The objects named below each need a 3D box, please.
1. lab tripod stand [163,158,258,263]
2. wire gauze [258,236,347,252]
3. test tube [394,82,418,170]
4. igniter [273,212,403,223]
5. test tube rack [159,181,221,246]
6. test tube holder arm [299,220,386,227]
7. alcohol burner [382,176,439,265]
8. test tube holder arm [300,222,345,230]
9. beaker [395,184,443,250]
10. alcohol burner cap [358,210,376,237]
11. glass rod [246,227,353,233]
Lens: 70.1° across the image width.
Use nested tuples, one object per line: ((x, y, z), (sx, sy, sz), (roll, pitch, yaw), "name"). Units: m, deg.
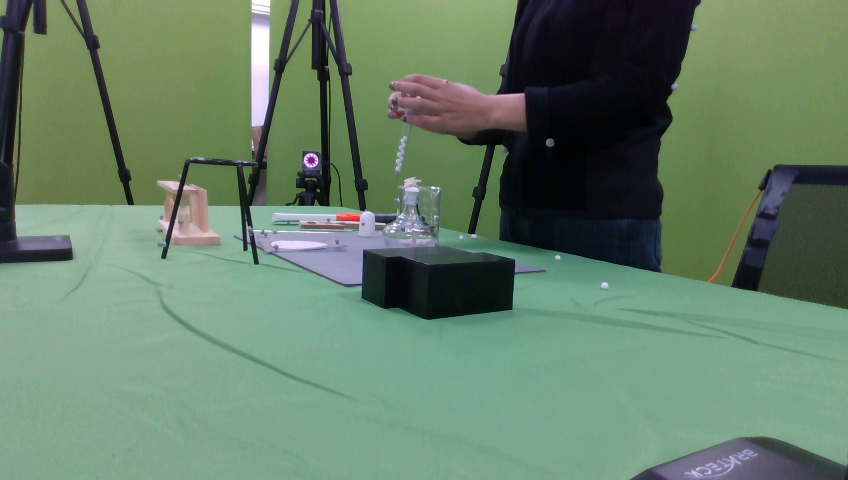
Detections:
((-0.265, -0.041, 0.802), (0.148, 0.131, 0.148), (4, 7, 0), "lab tripod stand")
((-0.189, 0.005, 0.931), (0.122, 0.011, 0.124), (1, 7, -21), "wire gauze")
((-0.031, -0.193, 1.029), (0.017, 0.150, 0.017), (11, 14, -3), "test tube")
((-0.179, -0.048, 1.290), (0.278, 0.025, 0.057), (-1, -2, -24), "igniter")
((-0.395, -0.050, 1.010), (0.067, 0.085, 0.241), (-2, 8, -28), "test tube rack")
((-0.159, -0.032, 1.196), (0.179, 0.015, 0.013), (-2, 45, -29), "test tube holder arm")
((-0.018, -0.027, 0.818), (0.078, 0.119, 0.078), (3, 9, 0), "alcohol burner")
((-0.196, -0.027, 1.170), (0.088, 0.015, 0.010), (-1, 44, -29), "test tube holder arm")
((-0.007, -0.037, 0.965), (0.074, 0.100, 0.083), (-4, 10, -40), "beaker")
((-0.104, -0.030, 1.098), (0.034, 0.048, 0.034), (2, 7, 0), "alcohol burner cap")
((-0.224, -0.017, 1.109), (0.201, 0.008, 0.008), (1, 7, -27), "glass rod")
